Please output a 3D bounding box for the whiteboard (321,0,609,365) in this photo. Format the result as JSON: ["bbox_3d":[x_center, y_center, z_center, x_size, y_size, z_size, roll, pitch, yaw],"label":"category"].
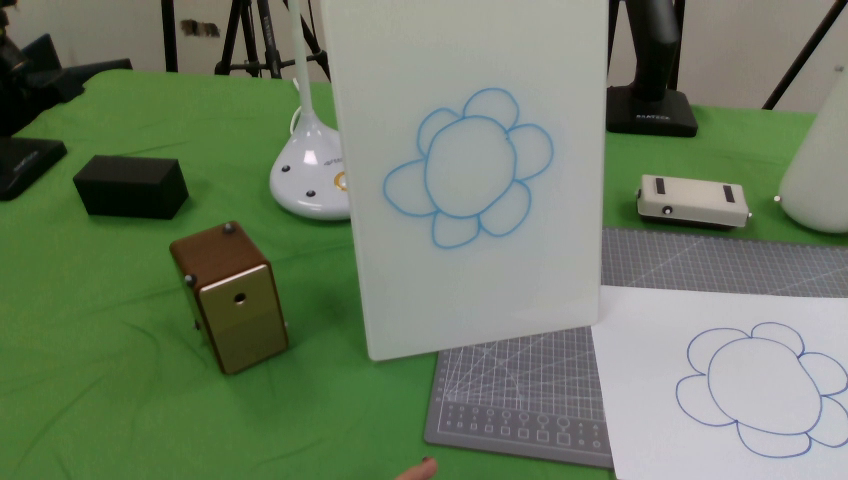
[{"bbox_3d":[0.034,-0.070,0.552,0.217,0.307,0.142,-8,22,-8],"label":"whiteboard"}]

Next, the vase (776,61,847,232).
[{"bbox_3d":[0.452,-0.106,0.633,0.098,0.202,0.097,1,40,0],"label":"vase"}]

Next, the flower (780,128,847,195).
[{"bbox_3d":[0.459,-0.158,0.568,0.044,0.364,0.038,-10,58,-22],"label":"flower"}]

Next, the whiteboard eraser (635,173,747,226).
[{"bbox_3d":[0.297,-0.044,0.681,0.112,0.042,0.055,6,38,9],"label":"whiteboard eraser"}]

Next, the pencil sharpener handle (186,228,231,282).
[{"bbox_3d":[-0.194,0.009,0.547,0.036,0.068,0.030,-30,48,-20],"label":"pencil sharpener handle"}]

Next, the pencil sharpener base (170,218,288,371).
[{"bbox_3d":[-0.167,0.046,0.522,0.061,0.108,0.076,-24,45,-25],"label":"pencil sharpener base"}]

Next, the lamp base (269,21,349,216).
[{"bbox_3d":[-0.115,-0.145,0.693,0.161,0.182,0.177,-28,45,-29],"label":"lamp base"}]
